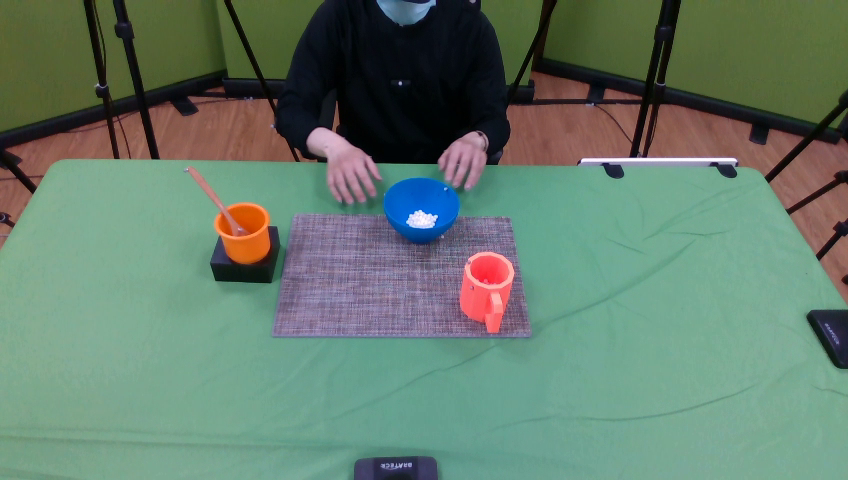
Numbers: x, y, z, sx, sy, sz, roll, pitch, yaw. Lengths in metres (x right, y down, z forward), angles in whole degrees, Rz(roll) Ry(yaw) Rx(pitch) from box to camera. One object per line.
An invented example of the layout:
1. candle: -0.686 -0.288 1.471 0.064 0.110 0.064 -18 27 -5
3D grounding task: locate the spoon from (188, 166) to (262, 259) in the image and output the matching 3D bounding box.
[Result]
1. spoon: -0.349 -0.048 1.061 0.041 0.194 0.021 -40 16 -30

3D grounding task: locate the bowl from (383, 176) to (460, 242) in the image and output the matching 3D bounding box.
1. bowl: -0.006 -0.048 1.197 0.151 0.077 0.150 2 46 -2

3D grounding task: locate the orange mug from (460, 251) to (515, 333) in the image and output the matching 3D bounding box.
1. orange mug: 0.114 0.094 1.053 0.083 0.101 0.125 -5 42 -8
